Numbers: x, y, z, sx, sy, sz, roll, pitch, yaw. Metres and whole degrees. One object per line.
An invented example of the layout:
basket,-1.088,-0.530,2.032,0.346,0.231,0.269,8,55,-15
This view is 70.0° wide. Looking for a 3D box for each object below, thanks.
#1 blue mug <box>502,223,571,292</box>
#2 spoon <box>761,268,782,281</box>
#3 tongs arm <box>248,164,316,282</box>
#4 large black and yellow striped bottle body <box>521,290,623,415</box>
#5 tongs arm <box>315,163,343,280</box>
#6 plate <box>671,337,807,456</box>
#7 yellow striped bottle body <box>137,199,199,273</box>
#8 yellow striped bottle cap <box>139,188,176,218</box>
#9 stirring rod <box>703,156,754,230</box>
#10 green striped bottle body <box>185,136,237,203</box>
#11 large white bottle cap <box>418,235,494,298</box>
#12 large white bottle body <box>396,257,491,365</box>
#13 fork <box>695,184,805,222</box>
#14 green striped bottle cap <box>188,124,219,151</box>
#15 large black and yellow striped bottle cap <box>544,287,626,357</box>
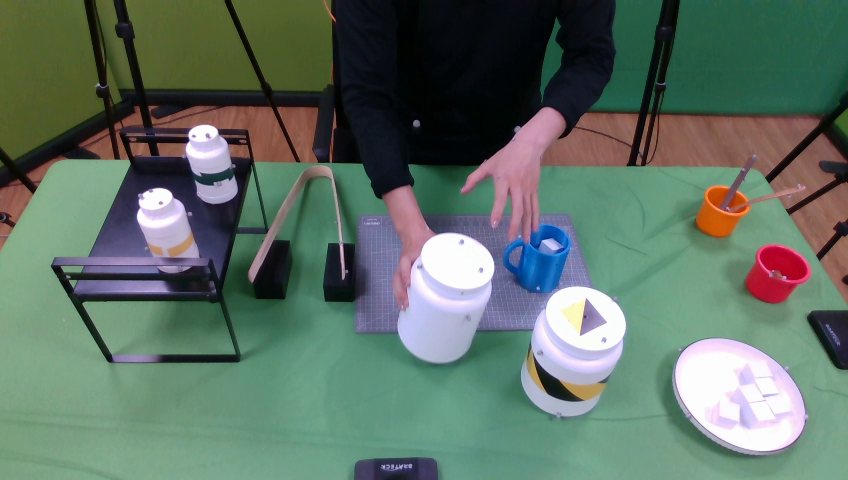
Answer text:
blue mug,0.203,0.031,1.121,0.116,0.106,0.082,5,47,1
spoon,0.638,0.060,1.105,0.041,0.021,0.194,38,11,25
tongs arm,-0.269,-0.048,1.165,0.028,0.028,0.385,0,34,7
large black and yellow striped bottle body,0.228,0.173,0.938,0.131,0.185,0.130,2,47,-2
tongs arm,-0.187,-0.050,1.170,0.051,0.026,0.382,-5,35,-6
plate,0.504,0.254,0.984,0.208,0.039,0.206,2,46,-2
yellow striped bottle body,-0.366,-0.014,0.863,0.063,0.121,0.062,2,46,-2
yellow striped bottle cap,-0.363,-0.051,0.826,0.044,0.019,0.044,0,48,0
stirring rod,0.631,-0.097,1.258,0.014,0.006,0.176,33,95,29
green striped bottle body,-0.341,-0.122,0.969,0.063,0.120,0.063,2,46,-2
large white bottle cap,0.049,0.038,0.909,0.115,0.018,0.114,8,45,-8
large white bottle body,0.033,0.097,0.968,0.131,0.185,0.130,8,44,-7
fork,0.657,-0.075,1.230,0.207,0.019,0.028,-23,34,37
green striped bottle cap,-0.339,-0.158,0.931,0.044,0.020,0.044,4,45,-3
large black and yellow striped bottle cap,0.232,0.116,0.876,0.115,0.019,0.114,2,46,-1
